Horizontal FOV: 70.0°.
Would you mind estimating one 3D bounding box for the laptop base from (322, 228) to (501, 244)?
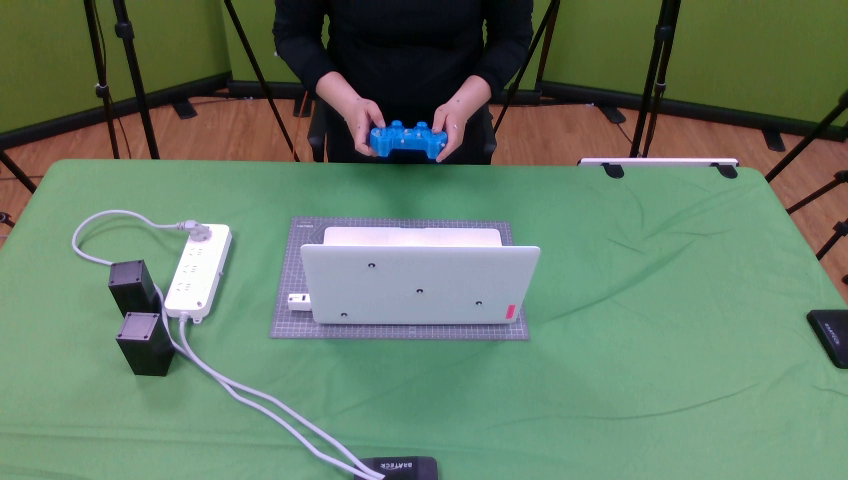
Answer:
[{"bbox_3d":[-0.020,0.063,1.136,0.355,0.023,0.234,0,43,-4],"label":"laptop base"}]

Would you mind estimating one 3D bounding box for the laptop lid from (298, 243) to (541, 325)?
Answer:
[{"bbox_3d":[-0.010,0.076,0.958,0.357,0.243,0.013,1,53,-5],"label":"laptop lid"}]

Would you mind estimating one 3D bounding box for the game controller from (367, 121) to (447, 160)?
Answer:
[{"bbox_3d":[-0.031,-0.194,1.148,0.155,0.052,0.096,2,35,-3],"label":"game controller"}]

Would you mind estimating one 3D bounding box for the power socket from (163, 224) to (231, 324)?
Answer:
[{"bbox_3d":[-0.411,0.052,1.107,0.072,0.033,0.225,3,46,-3],"label":"power socket"}]

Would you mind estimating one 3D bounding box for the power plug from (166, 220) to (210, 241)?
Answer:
[{"bbox_3d":[-0.440,-0.016,1.143,0.072,0.053,0.035,7,46,8],"label":"power plug"}]

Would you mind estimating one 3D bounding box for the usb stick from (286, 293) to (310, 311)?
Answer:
[{"bbox_3d":[-0.210,0.109,1.059,0.059,0.027,0.021,4,44,-6],"label":"usb stick"}]
